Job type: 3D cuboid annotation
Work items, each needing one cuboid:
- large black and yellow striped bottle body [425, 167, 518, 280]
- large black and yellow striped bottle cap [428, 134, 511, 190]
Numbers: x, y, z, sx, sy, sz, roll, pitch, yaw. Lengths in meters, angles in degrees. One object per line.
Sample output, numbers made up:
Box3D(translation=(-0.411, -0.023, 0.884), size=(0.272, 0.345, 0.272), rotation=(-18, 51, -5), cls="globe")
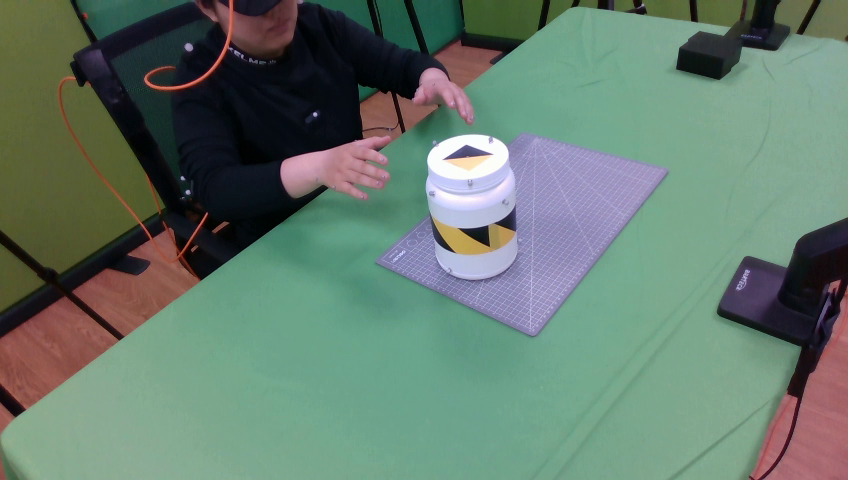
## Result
Box3D(translation=(0.072, -0.047, 0.894), size=(0.131, 0.185, 0.130), rotation=(-5, 40, 5), cls="large black and yellow striped bottle body")
Box3D(translation=(0.062, -0.111, 0.840), size=(0.115, 0.019, 0.114), rotation=(-5, 41, 5), cls="large black and yellow striped bottle cap")
